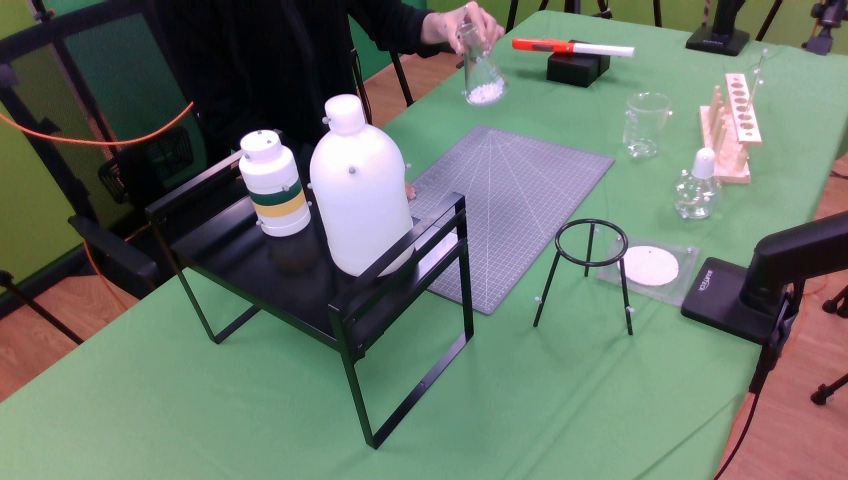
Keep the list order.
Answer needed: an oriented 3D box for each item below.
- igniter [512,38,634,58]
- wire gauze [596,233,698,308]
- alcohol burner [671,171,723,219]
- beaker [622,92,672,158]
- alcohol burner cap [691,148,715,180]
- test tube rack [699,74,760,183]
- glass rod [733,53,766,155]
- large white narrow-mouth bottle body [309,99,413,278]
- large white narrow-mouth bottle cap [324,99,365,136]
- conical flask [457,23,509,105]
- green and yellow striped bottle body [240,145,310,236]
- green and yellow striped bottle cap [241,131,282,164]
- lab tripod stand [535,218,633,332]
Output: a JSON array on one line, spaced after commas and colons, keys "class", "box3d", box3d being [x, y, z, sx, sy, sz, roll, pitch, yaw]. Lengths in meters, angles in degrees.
[{"class": "igniter", "box3d": [0.328, -0.433, 1.360, 0.275, 0.025, 0.057, 12, 33, 20]}, {"class": "wire gauze", "box3d": [0.331, 0.038, 0.897, 0.124, 0.011, 0.121, 18, 47, 26]}, {"class": "alcohol burner", "box3d": [0.434, -0.093, 0.955, 0.078, 0.119, 0.077, -3, 43, 3]}, {"class": "beaker", "box3d": [0.402, -0.210, 1.106, 0.074, 0.101, 0.083, -9, 40, -2]}, {"class": "alcohol burner cap", "box3d": [0.432, -0.120, 0.930, 0.034, 0.048, 0.033, -7, 48, 8]}, {"class": "test tube rack", "box3d": [0.547, -0.208, 1.095, 0.066, 0.085, 0.242, 6, 42, 16]}, {"class": "glass rod", "box3d": [0.540, -0.220, 1.007, 0.008, 0.201, 0.008, -5, 45, 6]}, {"class": "large white narrow-mouth bottle body", "box3d": [-0.068, -0.057, 0.644, 0.102, 0.195, 0.101, -3, 42, 4]}, {"class": "large white narrow-mouth bottle cap", "box3d": [-0.076, -0.119, 0.586, 0.038, 0.024, 0.037, -3, 42, 3]}, {"class": "conical flask", "box3d": [0.090, -0.290, 0.991, 0.075, 0.122, 0.075, -16, 36, 13]}, {"class": "green and yellow striped bottle body", "box3d": [-0.181, -0.068, 0.729, 0.063, 0.120, 0.063, -4, 40, 4]}, {"class": "green and yellow striped bottle cap", "box3d": [-0.187, -0.107, 0.695, 0.045, 0.020, 0.045, -3, 39, 3]}, {"class": "lab tripod stand", "box3d": [0.216, 0.050, 0.803, 0.148, 0.132, 0.147, -4, 42, 4]}]
